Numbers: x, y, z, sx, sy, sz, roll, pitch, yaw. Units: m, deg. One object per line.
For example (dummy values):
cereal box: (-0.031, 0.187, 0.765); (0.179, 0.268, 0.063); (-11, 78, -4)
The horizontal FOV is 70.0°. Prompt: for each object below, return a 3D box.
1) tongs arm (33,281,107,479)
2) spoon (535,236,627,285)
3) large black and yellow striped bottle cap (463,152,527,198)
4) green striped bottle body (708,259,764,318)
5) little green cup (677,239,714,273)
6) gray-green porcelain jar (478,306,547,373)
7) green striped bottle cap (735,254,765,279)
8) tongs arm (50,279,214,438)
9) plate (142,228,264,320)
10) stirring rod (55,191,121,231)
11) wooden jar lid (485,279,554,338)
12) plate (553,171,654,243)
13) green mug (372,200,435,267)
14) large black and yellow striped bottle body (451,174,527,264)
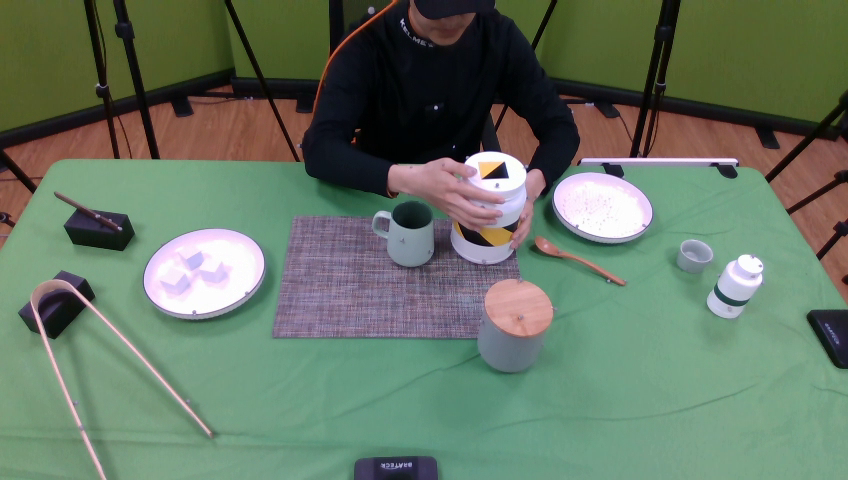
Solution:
tongs arm: (-0.517, 0.214, 0.909); (0.051, 0.026, 0.383); (-29, 63, -26)
spoon: (0.304, 0.040, 1.178); (0.193, 0.022, 0.041); (25, 35, 19)
large black and yellow striped bottle cap: (0.126, -0.118, 1.081); (0.115, 0.019, 0.114); (2, 44, -2)
green striped bottle body: (0.563, 0.081, 1.089); (0.063, 0.120, 0.063); (2, 46, -2)
little green cup: (0.530, 0.033, 1.189); (0.061, 0.039, 0.061); (2, 47, -2)
gray-green porcelain jar: (0.144, 0.148, 0.989); (0.106, 0.127, 0.105); (2, 50, -2)
green striped bottle cap: (0.566, 0.046, 1.051); (0.044, 0.020, 0.044); (1, 45, 0)
tongs arm: (-0.459, 0.178, 0.949); (0.386, 0.028, 0.028); (37, 60, 17)
plate: (-0.394, 0.064, 1.095); (0.208, 0.039, 0.206); (2, 46, -2)
stirring rod: (-0.632, -0.055, 1.138); (0.175, 0.014, 0.006); (24, 50, 19)
wooden jar lid: (0.147, 0.108, 0.940); (0.108, 0.021, 0.107); (4, 48, -4)
plate: (0.373, -0.066, 1.274); (0.209, 0.038, 0.208); (2, 46, -2)
green mug: (-0.040, -0.015, 1.146); (0.125, 0.105, 0.092); (16, 48, 12)
large black and yellow striped bottle body: (0.122, -0.059, 1.143); (0.131, 0.185, 0.130); (2, 46, -2)
